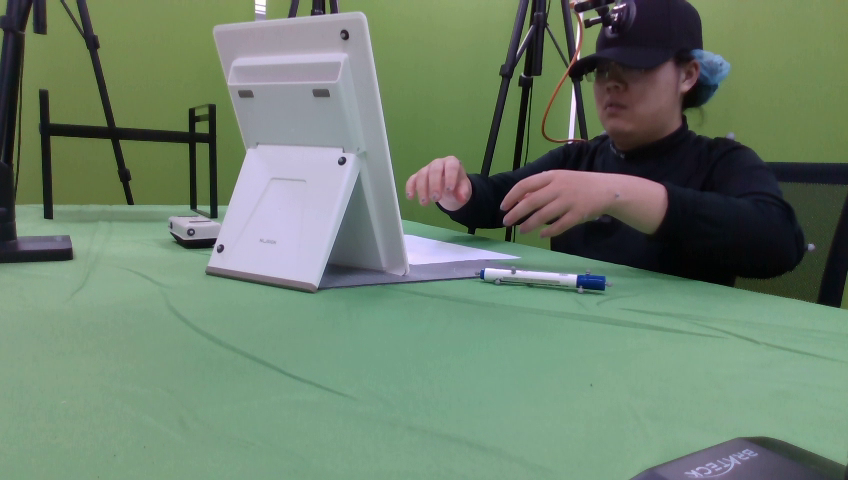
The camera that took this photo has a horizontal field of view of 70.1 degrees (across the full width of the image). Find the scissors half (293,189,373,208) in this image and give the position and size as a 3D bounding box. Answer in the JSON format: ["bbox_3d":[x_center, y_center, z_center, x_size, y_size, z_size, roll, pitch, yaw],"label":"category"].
[{"bbox_3d":[-0.201,-0.097,1.333,0.175,0.040,0.013,5,18,-4],"label":"scissors half"}]

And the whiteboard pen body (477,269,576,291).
[{"bbox_3d":[0.131,0.048,0.706,0.140,0.017,0.017,4,8,18],"label":"whiteboard pen body"}]

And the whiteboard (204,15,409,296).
[{"bbox_3d":[-0.166,-0.072,0.669,0.216,0.305,0.144,8,30,30],"label":"whiteboard"}]

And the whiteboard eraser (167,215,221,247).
[{"bbox_3d":[-0.350,-0.014,0.920,0.056,0.042,0.112,0,7,-35],"label":"whiteboard eraser"}]

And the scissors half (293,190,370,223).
[{"bbox_3d":[-0.205,-0.078,1.338,0.175,0.040,0.013,22,11,-8],"label":"scissors half"}]

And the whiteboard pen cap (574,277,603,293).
[{"bbox_3d":[0.186,0.051,0.687,0.033,0.018,0.018,4,8,18],"label":"whiteboard pen cap"}]
